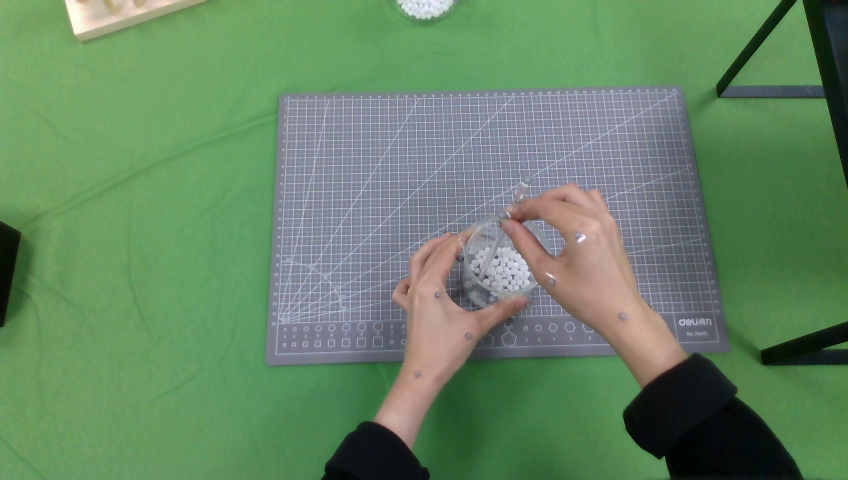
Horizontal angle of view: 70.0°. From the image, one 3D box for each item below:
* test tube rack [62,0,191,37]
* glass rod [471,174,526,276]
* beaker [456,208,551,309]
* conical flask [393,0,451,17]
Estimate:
[{"bbox_3d":[-0.299,-0.318,0.678,0.242,0.085,0.066,-22,73,-8],"label":"test tube rack"},{"bbox_3d":[0.059,-0.006,0.516,0.008,0.201,0.008,2,67,-5],"label":"glass rod"},{"bbox_3d":[0.067,0.021,0.563,0.084,0.101,0.073,22,74,8],"label":"beaker"},{"bbox_3d":[-0.003,-0.311,0.661,0.075,0.122,0.075,0,71,0],"label":"conical flask"}]
